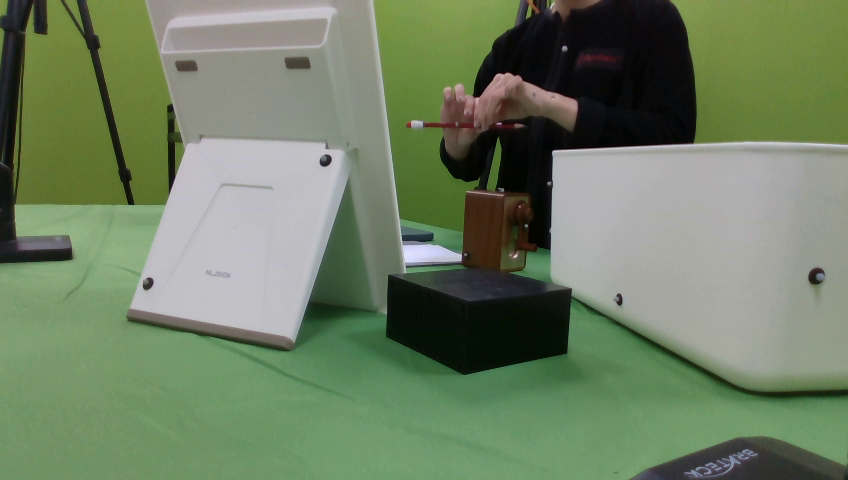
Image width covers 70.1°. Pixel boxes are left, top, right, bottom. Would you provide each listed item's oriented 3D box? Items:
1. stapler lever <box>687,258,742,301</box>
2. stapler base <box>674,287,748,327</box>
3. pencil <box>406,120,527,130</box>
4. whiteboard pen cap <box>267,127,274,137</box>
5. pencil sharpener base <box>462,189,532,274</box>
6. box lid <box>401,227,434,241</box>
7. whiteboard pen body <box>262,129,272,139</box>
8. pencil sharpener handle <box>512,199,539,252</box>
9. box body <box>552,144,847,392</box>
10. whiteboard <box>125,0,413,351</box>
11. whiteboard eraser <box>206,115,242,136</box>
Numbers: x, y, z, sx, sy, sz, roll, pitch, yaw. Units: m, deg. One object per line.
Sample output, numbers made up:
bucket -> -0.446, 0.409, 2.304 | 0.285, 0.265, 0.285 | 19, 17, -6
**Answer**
stapler lever -> 0.283, 0.035, 0.585 | 0.026, 0.040, 0.119 | 11, 8, 37
stapler base -> 0.281, 0.061, 0.586 | 0.041, 0.024, 0.131 | 11, 9, 37
pencil -> 0.062, -0.174, 0.920 | 0.193, 0.012, 0.012 | 6, 8, 21
whiteboard pen cap -> -0.340, -0.239, 1.337 | 0.018, 0.018, 0.033 | 1, -1, -15
pencil sharpener base -> 0.100, -0.013, 0.815 | 0.062, 0.107, 0.076 | -3, 10, -44
box lid -> -0.196, -0.015, 1.105 | 0.373, 0.015, 0.262 | -1, 7, -32
whiteboard pen body -> -0.361, -0.245, 1.393 | 0.017, 0.017, 0.140 | 0, 5, -20
pencil sharpener handle -> 0.135, -0.018, 0.778 | 0.036, 0.067, 0.030 | -3, 9, -44
box body -> 0.290, 0.002, 0.549 | 0.255, 0.160, 0.363 | 2, 7, -10
whiteboard -> -0.151, -0.050, 0.471 | 0.216, 0.305, 0.144 | 6, 27, 24
whiteboard eraser -> -0.438, -0.249, 1.320 | 0.056, 0.042, 0.112 | -3, 9, -30
